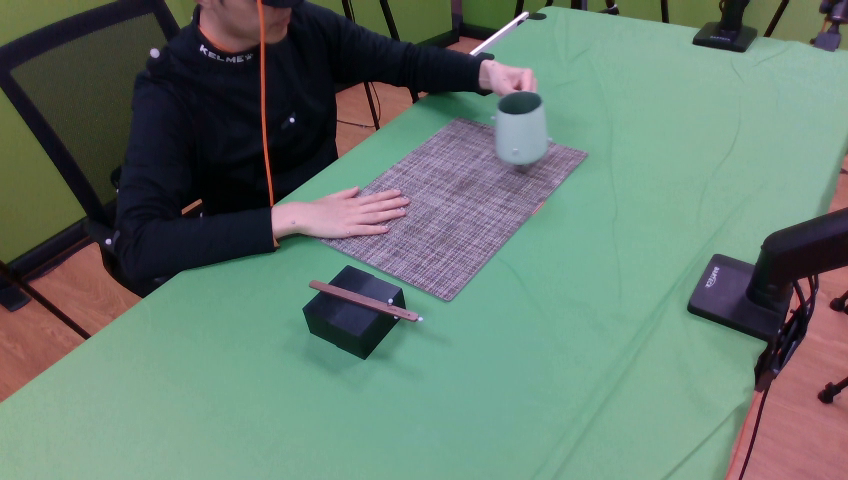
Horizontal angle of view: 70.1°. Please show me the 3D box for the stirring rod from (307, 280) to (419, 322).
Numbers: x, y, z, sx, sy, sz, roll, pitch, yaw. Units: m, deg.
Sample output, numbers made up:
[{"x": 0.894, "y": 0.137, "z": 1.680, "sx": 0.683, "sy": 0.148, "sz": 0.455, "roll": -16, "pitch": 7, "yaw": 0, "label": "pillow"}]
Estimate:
[{"x": -0.086, "y": 0.082, "z": 0.822, "sx": 0.175, "sy": 0.006, "sz": 0.014, "roll": 15, "pitch": 45, "yaw": 23, "label": "stirring rod"}]

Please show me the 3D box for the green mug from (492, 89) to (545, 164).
[{"x": 0.162, "y": -0.205, "z": 1.056, "sx": 0.092, "sy": 0.105, "sz": 0.125, "roll": -6, "pitch": 42, "yaw": 8, "label": "green mug"}]
